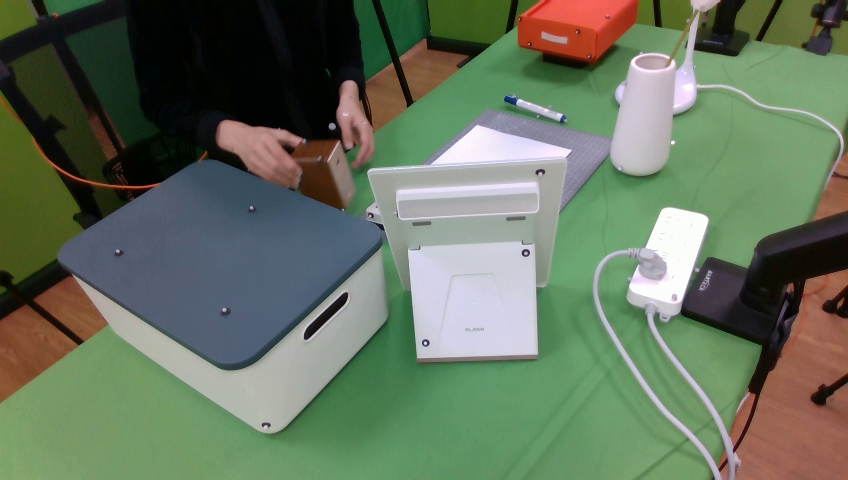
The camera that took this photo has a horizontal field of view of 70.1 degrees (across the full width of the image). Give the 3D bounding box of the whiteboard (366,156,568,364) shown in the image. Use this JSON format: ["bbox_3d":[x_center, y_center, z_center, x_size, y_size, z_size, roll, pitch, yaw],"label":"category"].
[{"bbox_3d":[0.059,0.050,0.738,0.217,0.307,0.143,-2,60,6],"label":"whiteboard"}]

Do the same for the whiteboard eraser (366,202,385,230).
[{"bbox_3d":[-0.037,-0.038,1.006,0.112,0.042,0.055,16,47,25],"label":"whiteboard eraser"}]

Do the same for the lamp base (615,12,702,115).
[{"bbox_3d":[0.484,-0.364,1.211,0.180,0.181,0.159,-15,41,-14],"label":"lamp base"}]

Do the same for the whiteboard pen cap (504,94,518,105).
[{"bbox_3d":[0.190,-0.299,1.292,0.033,0.018,0.018,30,52,28],"label":"whiteboard pen cap"}]

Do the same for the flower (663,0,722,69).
[{"bbox_3d":[0.379,-0.261,0.965,0.044,0.362,0.038,20,53,5],"label":"flower"}]

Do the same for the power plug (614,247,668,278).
[{"bbox_3d":[0.306,0.031,0.851,0.072,0.053,0.035,24,49,33],"label":"power plug"}]

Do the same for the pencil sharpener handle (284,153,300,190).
[{"bbox_3d":[-0.219,-0.114,0.990,0.030,0.068,0.036,1,27,16],"label":"pencil sharpener handle"}]

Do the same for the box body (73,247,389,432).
[{"bbox_3d":[-0.255,0.065,0.827,0.361,0.161,0.255,21,48,29],"label":"box body"}]

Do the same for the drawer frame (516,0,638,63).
[{"bbox_3d":[0.355,-0.508,1.410,0.200,0.083,0.214,23,51,32],"label":"drawer frame"}]

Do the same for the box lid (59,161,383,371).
[{"bbox_3d":[-0.262,0.010,0.777,0.369,0.015,0.264,21,48,29],"label":"box lid"}]

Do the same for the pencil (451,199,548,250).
[{"bbox_3d":[0.125,-0.025,0.994,0.195,0.012,0.012,-26,44,-19],"label":"pencil"}]

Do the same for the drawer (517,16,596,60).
[{"bbox_3d":[0.352,-0.506,1.405,0.193,0.073,0.212,23,49,32],"label":"drawer"}]

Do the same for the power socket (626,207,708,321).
[{"bbox_3d":[0.359,0.025,0.886,0.072,0.033,0.227,16,46,26],"label":"power socket"}]

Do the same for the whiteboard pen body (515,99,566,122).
[{"bbox_3d":[0.234,-0.274,1.262,0.139,0.017,0.017,28,51,29],"label":"whiteboard pen body"}]

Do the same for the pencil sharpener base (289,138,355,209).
[{"bbox_3d":[-0.167,-0.107,0.988,0.076,0.107,0.061,1,43,16],"label":"pencil sharpener base"}]

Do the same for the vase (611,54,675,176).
[{"bbox_3d":[0.377,-0.209,1.031,0.098,0.201,0.097,-3,40,3],"label":"vase"}]
